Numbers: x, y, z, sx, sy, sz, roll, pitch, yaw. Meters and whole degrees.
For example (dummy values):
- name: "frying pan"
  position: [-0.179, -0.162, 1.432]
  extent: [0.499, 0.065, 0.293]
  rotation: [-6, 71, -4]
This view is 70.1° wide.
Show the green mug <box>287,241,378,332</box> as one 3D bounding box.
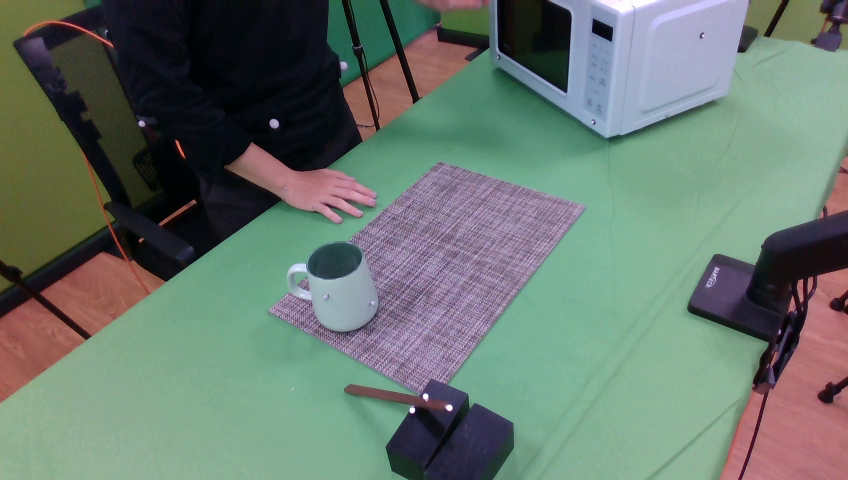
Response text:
- name: "green mug"
  position: [-0.131, 0.065, 0.843]
  extent: [0.125, 0.105, 0.092]
  rotation: [3, 42, 12]

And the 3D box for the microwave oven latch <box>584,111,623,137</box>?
- name: "microwave oven latch"
  position: [0.337, -0.222, 1.142]
  extent: [0.030, 0.029, 0.078]
  rotation: [-21, 42, -14]

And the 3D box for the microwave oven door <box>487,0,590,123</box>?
- name: "microwave oven door"
  position: [0.232, -0.420, 1.231]
  extent: [0.039, 0.245, 0.352]
  rotation: [-22, 43, -16]

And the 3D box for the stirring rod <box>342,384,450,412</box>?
- name: "stirring rod"
  position: [-0.038, 0.186, 0.714]
  extent: [0.175, 0.006, 0.014]
  rotation: [-3, 22, 43]

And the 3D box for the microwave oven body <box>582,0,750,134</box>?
- name: "microwave oven body"
  position: [0.382, -0.444, 1.246]
  extent: [0.327, 0.261, 0.437]
  rotation: [-22, 42, -16]
